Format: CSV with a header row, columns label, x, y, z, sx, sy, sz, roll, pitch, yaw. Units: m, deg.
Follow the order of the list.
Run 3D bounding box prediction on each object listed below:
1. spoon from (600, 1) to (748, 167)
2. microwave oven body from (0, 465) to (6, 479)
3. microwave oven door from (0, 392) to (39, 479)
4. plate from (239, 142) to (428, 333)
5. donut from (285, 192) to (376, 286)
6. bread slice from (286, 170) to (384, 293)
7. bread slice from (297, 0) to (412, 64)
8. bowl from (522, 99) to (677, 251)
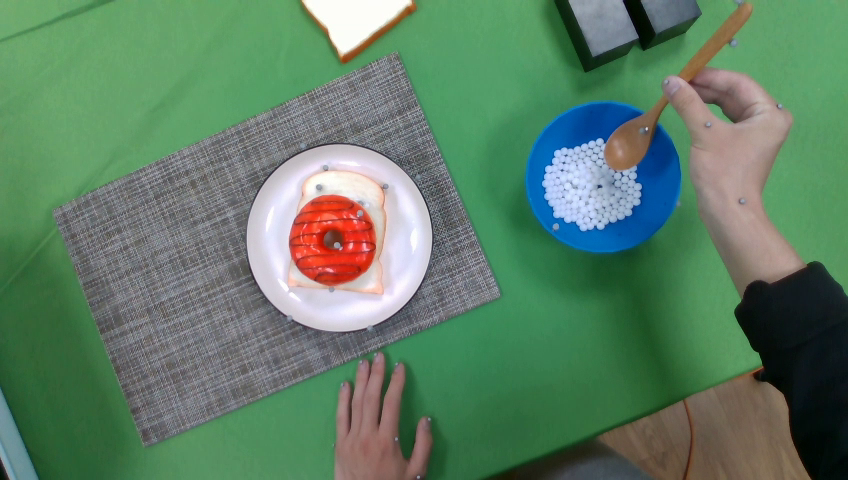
label,x,y,z,sx,sy,sz,roll,pitch,yaw
spoon,0.208,-0.126,0.523,0.022,0.194,0.041,-19,70,-22
microwave oven body,-0.650,0.241,0.603,0.326,0.260,0.441,-25,87,3
microwave oven door,-0.500,0.216,0.586,0.039,0.244,0.355,-26,87,4
plate,-0.097,-0.002,0.671,0.207,0.039,0.207,0,89,5
donut,-0.099,-0.001,0.643,0.099,0.048,0.099,0,89,6
bread slice,-0.097,-0.010,0.672,0.107,0.018,0.134,2,90,5
bread slice,-0.094,-0.283,0.689,0.105,0.019,0.131,-38,87,2
bowl,0.175,-0.063,0.632,0.151,0.077,0.151,0,89,5
